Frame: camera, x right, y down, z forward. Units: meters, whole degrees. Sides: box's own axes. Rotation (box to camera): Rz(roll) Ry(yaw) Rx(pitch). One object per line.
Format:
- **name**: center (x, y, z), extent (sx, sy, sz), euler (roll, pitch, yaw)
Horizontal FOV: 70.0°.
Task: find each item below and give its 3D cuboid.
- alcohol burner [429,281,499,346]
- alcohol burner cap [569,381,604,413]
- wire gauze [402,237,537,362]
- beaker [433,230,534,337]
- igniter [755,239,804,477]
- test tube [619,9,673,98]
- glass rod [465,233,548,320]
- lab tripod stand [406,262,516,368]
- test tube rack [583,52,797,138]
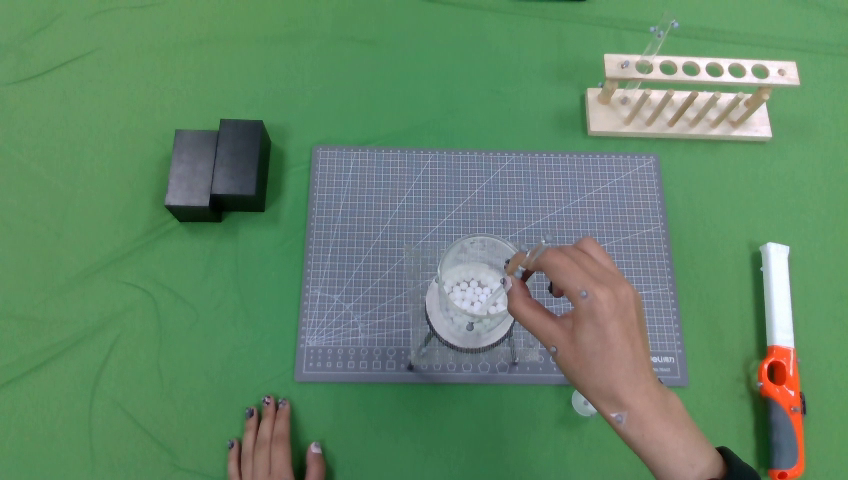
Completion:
- **alcohol burner**: center (0.045, 0.077, 0.657), extent (0.078, 0.120, 0.077), euler (2, 69, -4)
- **alcohol burner cap**: center (0.183, 0.173, 0.672), extent (0.034, 0.048, 0.033), euler (1, 69, -1)
- **wire gauze**: center (0.042, 0.056, 0.584), extent (0.125, 0.011, 0.120), euler (-2, 69, -1)
- **beaker**: center (0.047, 0.043, 0.538), extent (0.084, 0.101, 0.073), euler (-3, 70, -3)
- **igniter**: center (0.410, 0.131, 0.704), extent (0.057, 0.025, 0.275), euler (11, 71, -9)
- **test tube**: center (0.267, -0.221, 0.737), extent (0.017, 0.151, 0.017), euler (1, 67, -1)
- **glass rod**: center (0.059, 0.035, 0.476), extent (0.008, 0.200, 0.008), euler (4, 67, -10)
- **lab tripod stand**: center (0.040, 0.081, 0.645), extent (0.148, 0.132, 0.147), euler (0, 70, 0)
- **test tube rack**: center (0.338, -0.185, 0.780), extent (0.242, 0.085, 0.066), euler (1, 70, -2)
